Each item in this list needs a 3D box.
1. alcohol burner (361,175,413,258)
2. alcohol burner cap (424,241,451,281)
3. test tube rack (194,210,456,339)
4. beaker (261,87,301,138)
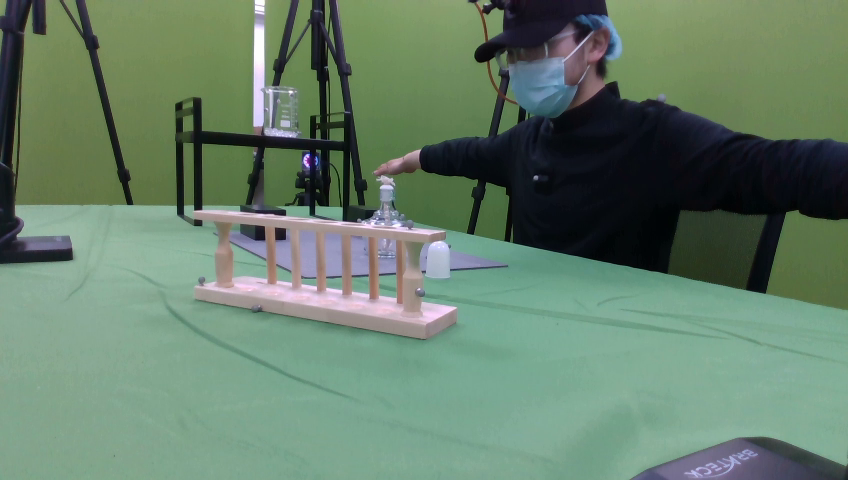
[{"bbox_3d":[-0.054,-0.034,0.871,0.078,0.119,0.078,1,8,0],"label":"alcohol burner"},{"bbox_3d":[0.018,0.024,0.748,0.034,0.048,0.034,3,9,0],"label":"alcohol burner cap"},{"bbox_3d":[-0.093,0.023,0.546,0.241,0.085,0.067,6,8,25],"label":"test tube rack"},{"bbox_3d":[-0.298,-0.263,1.255,0.084,0.100,0.073,-5,10,-40],"label":"beaker"}]
